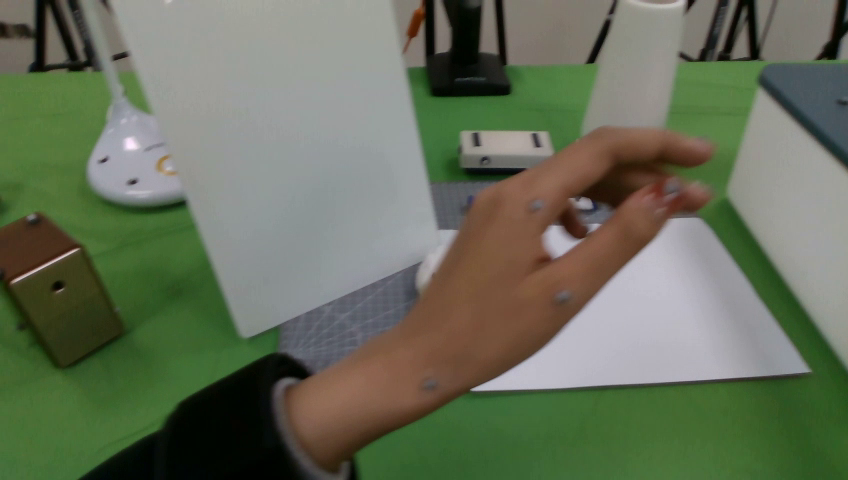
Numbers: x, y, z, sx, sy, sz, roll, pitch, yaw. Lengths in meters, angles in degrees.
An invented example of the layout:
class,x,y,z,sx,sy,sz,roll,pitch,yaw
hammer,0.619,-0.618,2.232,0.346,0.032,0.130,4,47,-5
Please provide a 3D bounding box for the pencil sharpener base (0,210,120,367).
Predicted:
class,x,y,z,sx,sy,sz,roll,pitch,yaw
pencil sharpener base,-0.314,0.040,0.503,0.076,0.108,0.061,29,49,28

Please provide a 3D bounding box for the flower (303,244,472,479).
class,x,y,z,sx,sy,sz,roll,pitch,yaw
flower,-0.050,0.127,0.483,0.044,0.038,0.360,23,50,15

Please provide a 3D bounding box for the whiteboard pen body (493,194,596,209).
class,x,y,z,sx,sy,sz,roll,pitch,yaw
whiteboard pen body,0.123,-0.043,0.680,0.141,0.017,0.017,0,41,-2

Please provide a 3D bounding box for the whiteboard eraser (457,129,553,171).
class,x,y,z,sx,sy,sz,roll,pitch,yaw
whiteboard eraser,0.098,-0.109,0.740,0.113,0.042,0.055,-1,39,-2

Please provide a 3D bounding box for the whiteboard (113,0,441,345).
class,x,y,z,sx,sy,sz,roll,pitch,yaw
whiteboard,-0.132,-0.101,0.563,0.217,0.308,0.142,-23,28,-25

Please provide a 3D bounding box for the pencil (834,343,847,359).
class,x,y,z,sx,sy,sz,roll,pitch,yaw
pencil,0.446,0.125,0.499,0.193,0.012,0.012,20,44,19

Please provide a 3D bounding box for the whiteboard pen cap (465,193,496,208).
class,x,y,z,sx,sy,sz,roll,pitch,yaw
whiteboard pen cap,0.063,-0.043,0.678,0.033,0.018,0.018,2,41,-4

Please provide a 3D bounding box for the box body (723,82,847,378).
class,x,y,z,sx,sy,sz,roll,pitch,yaw
box body,0.471,-0.006,0.545,0.254,0.162,0.360,-1,41,-3

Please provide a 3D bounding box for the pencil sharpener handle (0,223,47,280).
class,x,y,z,sx,sy,sz,roll,pitch,yaw
pencil sharpener handle,-0.351,0.007,0.519,0.030,0.068,0.036,29,57,29

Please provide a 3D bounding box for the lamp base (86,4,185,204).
class,x,y,z,sx,sy,sz,roll,pitch,yaw
lamp base,-0.320,-0.157,0.672,0.178,0.182,0.160,26,46,28

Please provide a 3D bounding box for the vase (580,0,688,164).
class,x,y,z,sx,sy,sz,roll,pitch,yaw
vase,0.250,-0.190,0.719,0.098,0.202,0.097,2,41,-1

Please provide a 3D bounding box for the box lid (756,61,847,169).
class,x,y,z,sx,sy,sz,roll,pitch,yaw
box lid,0.471,-0.062,0.494,0.263,0.015,0.367,-1,41,-3
